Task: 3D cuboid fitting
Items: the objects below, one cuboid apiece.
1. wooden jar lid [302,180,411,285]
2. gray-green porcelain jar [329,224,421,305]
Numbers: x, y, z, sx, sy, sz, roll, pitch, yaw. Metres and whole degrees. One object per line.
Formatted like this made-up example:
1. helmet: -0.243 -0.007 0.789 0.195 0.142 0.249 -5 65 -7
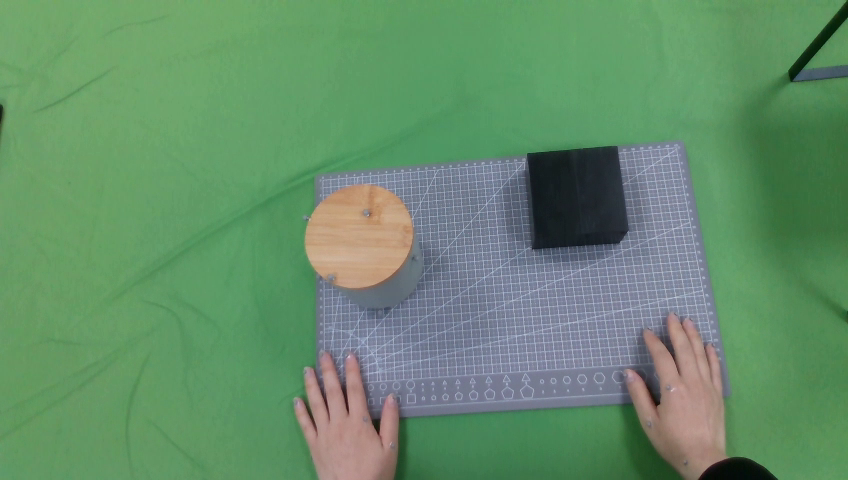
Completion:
1. wooden jar lid: -0.065 -0.006 0.598 0.108 0.021 0.107 -2 73 7
2. gray-green porcelain jar: -0.059 0.011 0.657 0.106 0.127 0.105 -1 74 5
